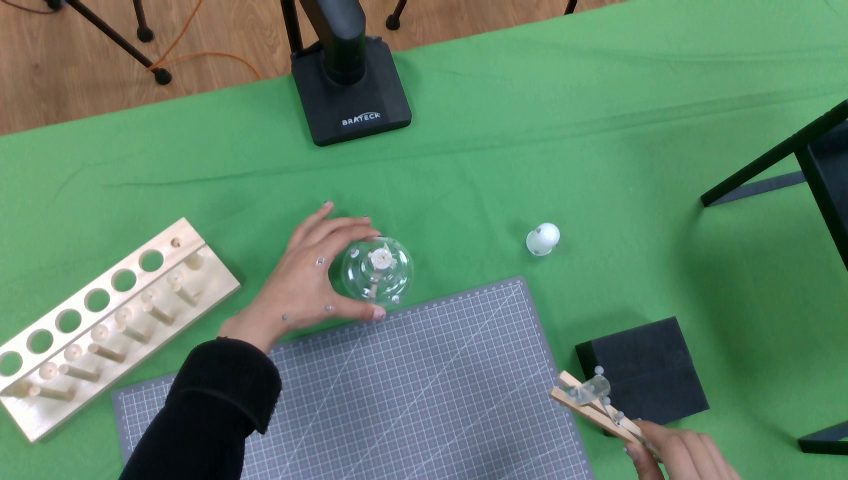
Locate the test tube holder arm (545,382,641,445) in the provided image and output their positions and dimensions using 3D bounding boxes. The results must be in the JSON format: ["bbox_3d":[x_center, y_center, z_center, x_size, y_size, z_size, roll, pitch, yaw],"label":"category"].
[{"bbox_3d":[0.143,0.146,0.511,0.087,0.015,0.010,29,79,7],"label":"test tube holder arm"}]

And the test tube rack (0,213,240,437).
[{"bbox_3d":[-0.305,0.083,0.586,0.242,0.085,0.066,-39,82,-15],"label":"test tube rack"}]

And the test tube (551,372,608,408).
[{"bbox_3d":[0.126,0.128,0.507,0.017,0.151,0.017,0,70,1],"label":"test tube"}]

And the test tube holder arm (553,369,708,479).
[{"bbox_3d":[0.184,0.166,0.506,0.178,0.015,0.013,36,81,8],"label":"test tube holder arm"}]

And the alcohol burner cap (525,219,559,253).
[{"bbox_3d":[0.136,-0.006,0.688,0.034,0.048,0.033,2,74,-5],"label":"alcohol burner cap"}]

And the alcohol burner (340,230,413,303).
[{"bbox_3d":[-0.047,0.024,0.620,0.078,0.119,0.077,2,76,-8],"label":"alcohol burner"}]
